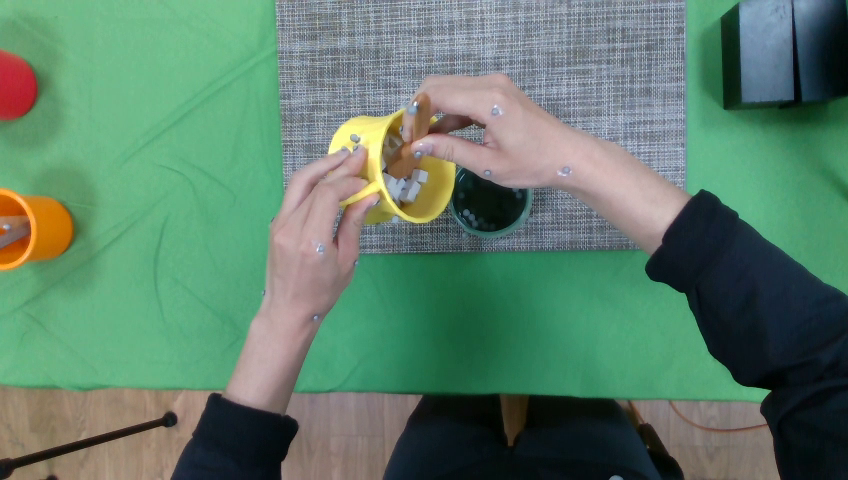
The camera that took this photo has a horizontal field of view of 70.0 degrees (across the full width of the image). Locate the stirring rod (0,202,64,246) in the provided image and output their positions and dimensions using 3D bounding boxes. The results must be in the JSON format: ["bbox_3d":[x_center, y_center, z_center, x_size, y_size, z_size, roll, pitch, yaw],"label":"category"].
[{"bbox_3d":[-0.492,0.006,0.683,0.014,0.006,0.176,49,55,0],"label":"stirring rod"}]

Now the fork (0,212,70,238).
[{"bbox_3d":[-0.515,-0.030,0.677,0.209,0.018,0.028,13,93,-38],"label":"fork"}]

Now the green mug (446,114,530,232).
[{"bbox_3d":[0.070,-0.069,0.630,0.092,0.105,0.125,16,95,6],"label":"green mug"}]

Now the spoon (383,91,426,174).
[{"bbox_3d":[-0.011,-0.081,0.473,0.041,0.193,0.021,-39,93,-8],"label":"spoon"}]

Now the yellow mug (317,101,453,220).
[{"bbox_3d":[-0.039,-0.061,0.528,0.063,0.131,0.100,1,118,42],"label":"yellow mug"}]
